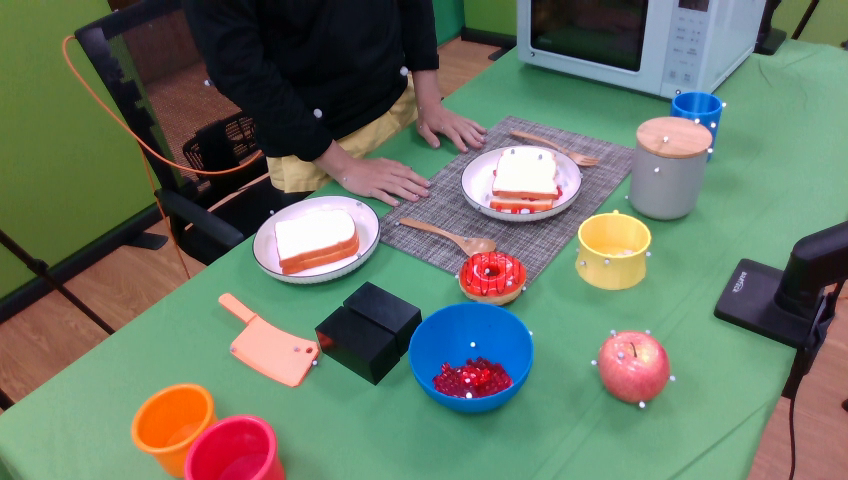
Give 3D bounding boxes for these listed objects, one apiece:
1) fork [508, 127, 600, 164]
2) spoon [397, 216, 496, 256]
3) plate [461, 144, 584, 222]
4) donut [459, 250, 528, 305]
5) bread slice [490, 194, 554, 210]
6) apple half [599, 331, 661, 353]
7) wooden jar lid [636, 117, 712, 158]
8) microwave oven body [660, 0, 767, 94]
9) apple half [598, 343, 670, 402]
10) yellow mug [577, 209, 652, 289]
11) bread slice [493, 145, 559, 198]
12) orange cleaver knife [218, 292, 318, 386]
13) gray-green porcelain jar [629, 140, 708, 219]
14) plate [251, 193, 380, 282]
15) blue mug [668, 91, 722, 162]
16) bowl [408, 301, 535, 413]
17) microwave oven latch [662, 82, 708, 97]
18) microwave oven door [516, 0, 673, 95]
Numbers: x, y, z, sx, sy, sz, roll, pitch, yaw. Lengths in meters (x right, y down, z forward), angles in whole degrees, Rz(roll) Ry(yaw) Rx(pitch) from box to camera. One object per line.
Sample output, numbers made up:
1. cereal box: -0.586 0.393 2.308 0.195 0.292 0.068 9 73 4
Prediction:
1. fork: 0.240 -0.180 1.142 0.205 0.019 0.028 32 62 34
2. spoon: 0.033 -0.011 0.972 0.192 0.022 0.041 23 71 29
3. plate: 0.168 -0.095 1.040 0.207 0.039 0.206 -4 40 4
4. donut: 0.100 0.053 0.873 0.099 0.048 0.098 -4 40 4
5. bread slice: 0.173 -0.099 1.047 0.104 0.019 0.131 2 43 12
6. apple half: 0.249 0.134 0.738 0.081 0.081 0.032 -1 46 7
7. wooden jar lid: 0.377 -0.151 0.917 0.108 0.021 0.108 -2 42 2
8. microwave oven body: 0.473 -0.516 1.313 0.438 0.261 0.327 26 51 34
9. apple half: 0.247 0.161 0.710 0.081 0.075 0.053 1 47 5
10. yellow mug: 0.279 0.005 0.893 0.099 0.064 0.130 5 41 15
11. bread slice: 0.172 -0.118 1.027 0.107 0.018 0.134 3 43 7
12. orange cleaver knife: -0.235 0.136 0.850 0.209 0.012 0.077 25 57 30
13. gray-green porcelain jar: 0.383 -0.104 0.958 0.106 0.127 0.105 -4 41 4
14. plate: -0.173 -0.001 0.984 0.209 0.038 0.208 -4 40 4
15. blue mug: 0.474 -0.207 1.078 0.082 0.106 0.116 4 42 13
16. bowl: 0.060 0.156 0.739 0.151 0.077 0.150 -4 40 4
17. microwave oven latch: 0.517 -0.298 1.202 0.078 0.029 0.030 27 52 34
18. microwave oven door: 0.344 -0.458 1.256 0.353 0.245 0.039 26 51 33
